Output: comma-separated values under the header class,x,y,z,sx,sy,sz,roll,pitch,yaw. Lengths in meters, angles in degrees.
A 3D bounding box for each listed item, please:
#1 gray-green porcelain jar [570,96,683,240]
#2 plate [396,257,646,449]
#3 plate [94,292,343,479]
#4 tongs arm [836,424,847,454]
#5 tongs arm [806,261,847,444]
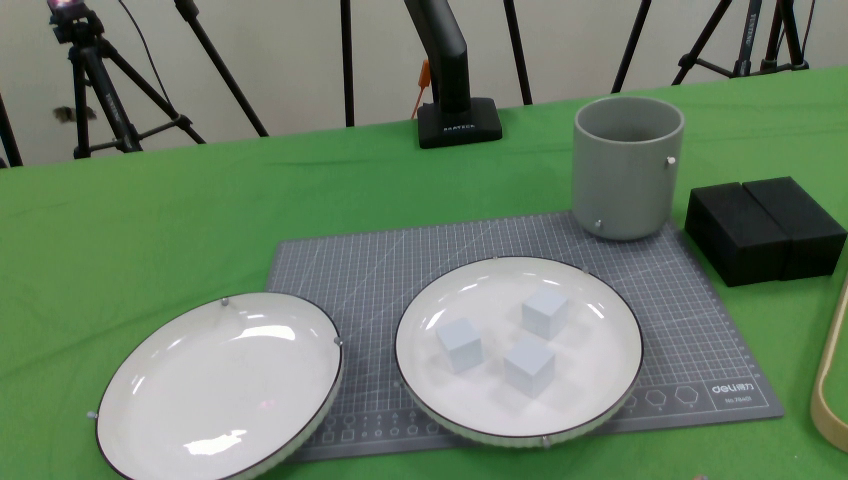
class,x,y,z,sx,sy,sz,roll,pitch,yaw
gray-green porcelain jar,0.208,-0.072,0.639,0.106,0.128,0.105,-5,38,4
plate,0.081,0.093,0.523,0.207,0.039,0.205,-5,37,4
plate,-0.170,0.128,0.525,0.209,0.038,0.207,-6,37,5
tongs arm,0.459,0.058,0.504,0.385,0.027,0.050,-32,43,-26
tongs arm,0.402,0.031,0.556,0.028,0.028,0.387,22,47,30
